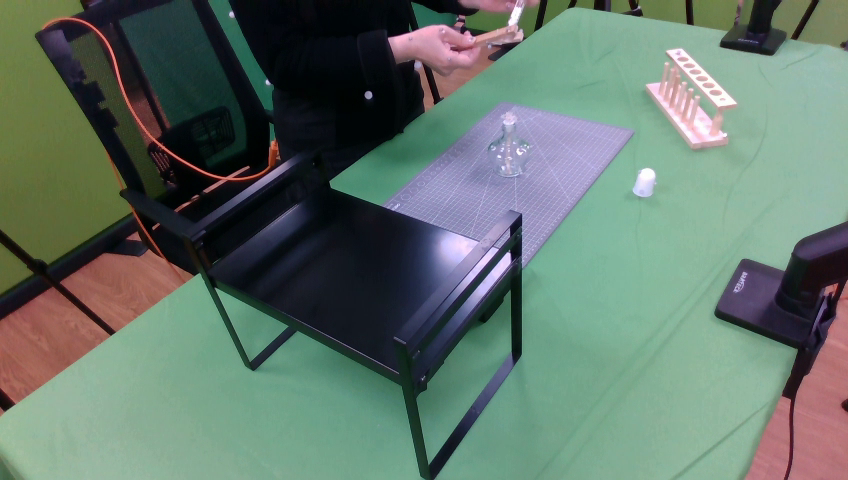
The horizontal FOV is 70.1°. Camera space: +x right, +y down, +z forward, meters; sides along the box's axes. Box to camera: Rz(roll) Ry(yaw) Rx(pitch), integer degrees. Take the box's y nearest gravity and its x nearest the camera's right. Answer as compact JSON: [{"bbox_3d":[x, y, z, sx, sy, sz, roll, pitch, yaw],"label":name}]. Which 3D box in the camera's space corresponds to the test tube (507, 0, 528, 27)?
[{"bbox_3d":[0.165,-0.401,0.984,0.017,0.017,0.150,15,72,24],"label":"test tube"}]

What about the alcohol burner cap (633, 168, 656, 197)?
[{"bbox_3d":[0.374,-0.099,1.018,0.034,0.048,0.033,-1,42,1],"label":"alcohol burner cap"}]

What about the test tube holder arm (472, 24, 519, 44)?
[{"bbox_3d":[0.114,-0.329,0.973,0.087,0.010,0.015,0,67,46],"label":"test tube holder arm"}]

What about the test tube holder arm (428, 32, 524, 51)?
[{"bbox_3d":[0.083,-0.329,1.005,0.177,0.013,0.015,5,70,35],"label":"test tube holder arm"}]

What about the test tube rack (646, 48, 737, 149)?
[{"bbox_3d":[0.511,-0.280,1.175,0.067,0.085,0.241,-8,41,1],"label":"test tube rack"}]

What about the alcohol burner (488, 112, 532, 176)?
[{"bbox_3d":[0.155,-0.176,1.083,0.078,0.119,0.077,-3,41,3],"label":"alcohol burner"}]
